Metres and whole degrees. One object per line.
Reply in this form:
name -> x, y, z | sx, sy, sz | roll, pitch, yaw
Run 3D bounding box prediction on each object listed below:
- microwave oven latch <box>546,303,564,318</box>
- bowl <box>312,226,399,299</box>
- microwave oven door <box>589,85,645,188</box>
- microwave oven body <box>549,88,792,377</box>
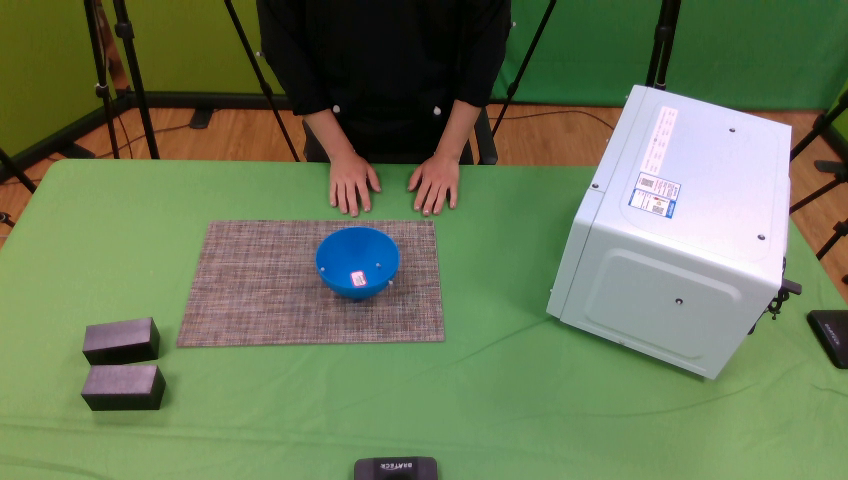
microwave oven latch -> 0.242, 0.102, 1.081 | 0.030, 0.029, 0.079 | 21, 48, 17
bowl -> -0.120, 0.054, 1.091 | 0.151, 0.077, 0.150 | 2, 46, -2
microwave oven door -> 0.342, -0.107, 1.149 | 0.039, 0.245, 0.354 | 20, 48, 15
microwave oven body -> 0.456, -0.028, 1.088 | 0.325, 0.261, 0.440 | 20, 47, 16
